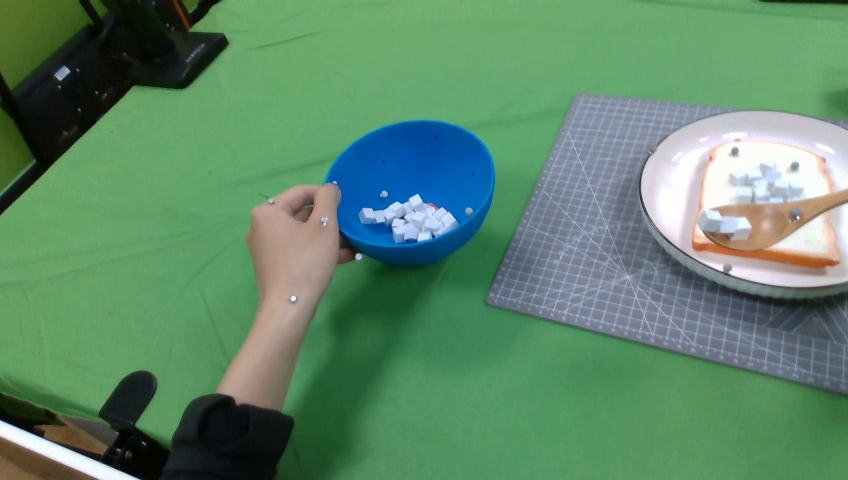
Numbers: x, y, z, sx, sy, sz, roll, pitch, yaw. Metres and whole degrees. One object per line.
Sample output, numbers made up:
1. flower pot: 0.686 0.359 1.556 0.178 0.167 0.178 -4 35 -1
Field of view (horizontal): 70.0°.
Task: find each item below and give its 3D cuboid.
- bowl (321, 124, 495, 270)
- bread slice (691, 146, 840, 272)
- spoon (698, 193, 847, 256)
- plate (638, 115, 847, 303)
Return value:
1. bowl: -0.009 -0.025 0.544 0.151 0.077 0.150 -5 51 7
2. bread slice: 0.292 -0.031 0.526 0.106 0.018 0.133 6 53 20
3. spoon: 0.271 -0.024 0.377 0.193 0.022 0.041 -16 42 12
4. plate: 0.292 -0.029 0.520 0.209 0.038 0.207 -7 48 9
